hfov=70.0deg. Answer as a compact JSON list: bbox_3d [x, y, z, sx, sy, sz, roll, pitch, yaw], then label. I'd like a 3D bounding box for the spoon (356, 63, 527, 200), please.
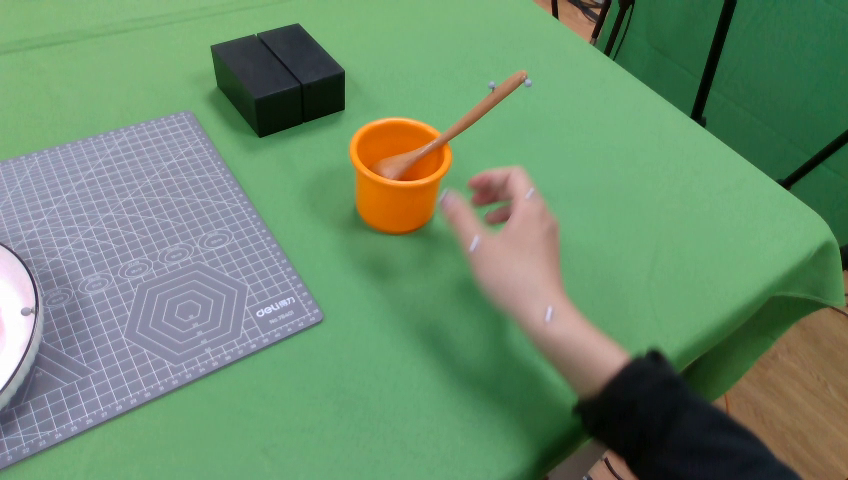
[{"bbox_3d":[0.010,-0.097,0.543,0.194,0.022,0.041,-32,54,18],"label":"spoon"}]

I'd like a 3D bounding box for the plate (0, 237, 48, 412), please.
[{"bbox_3d":[-0.372,0.077,0.415,0.209,0.038,0.207,5,50,-5],"label":"plate"}]
